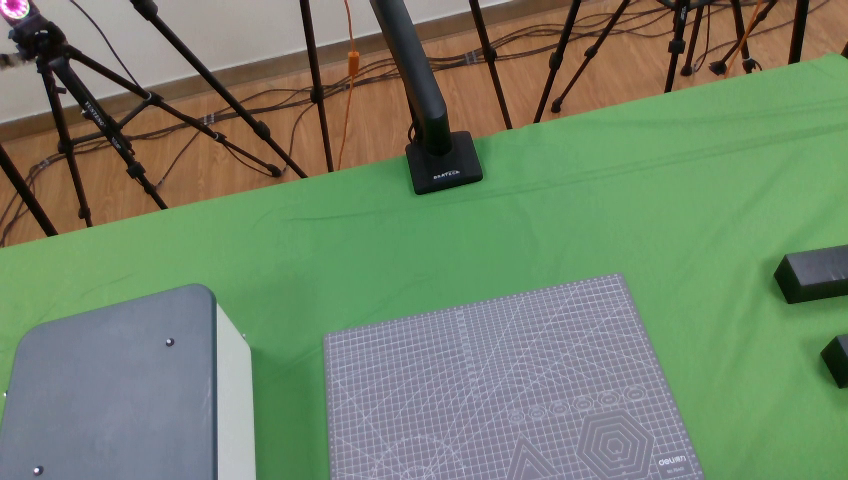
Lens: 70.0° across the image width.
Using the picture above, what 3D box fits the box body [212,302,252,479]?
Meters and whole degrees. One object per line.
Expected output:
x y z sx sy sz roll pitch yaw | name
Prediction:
-0.355 0.270 0.743 0.254 0.162 0.360 -14 55 -1 | box body

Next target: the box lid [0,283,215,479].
-0.366 0.226 0.684 0.263 0.015 0.367 -14 56 0 | box lid
